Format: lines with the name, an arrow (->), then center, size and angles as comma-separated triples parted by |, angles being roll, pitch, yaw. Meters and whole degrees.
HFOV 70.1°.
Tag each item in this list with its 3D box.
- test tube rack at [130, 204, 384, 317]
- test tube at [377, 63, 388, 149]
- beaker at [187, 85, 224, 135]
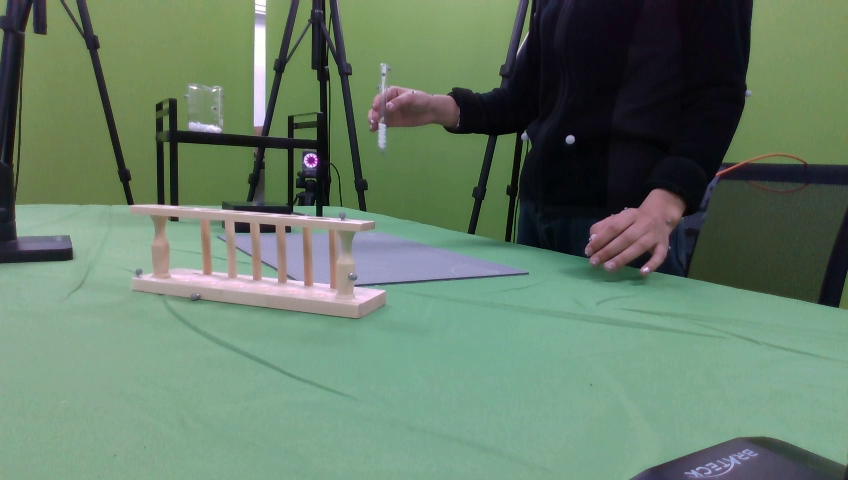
test tube rack -> -0.162, 0.013, 0.589 | 0.242, 0.085, 0.067 | 5, 8, 17
test tube -> -0.073, -0.236, 1.064 | 0.017, 0.150, 0.017 | -2, 0, 0
beaker -> -0.466, -0.276, 1.296 | 0.074, 0.100, 0.083 | -3, 10, -35
